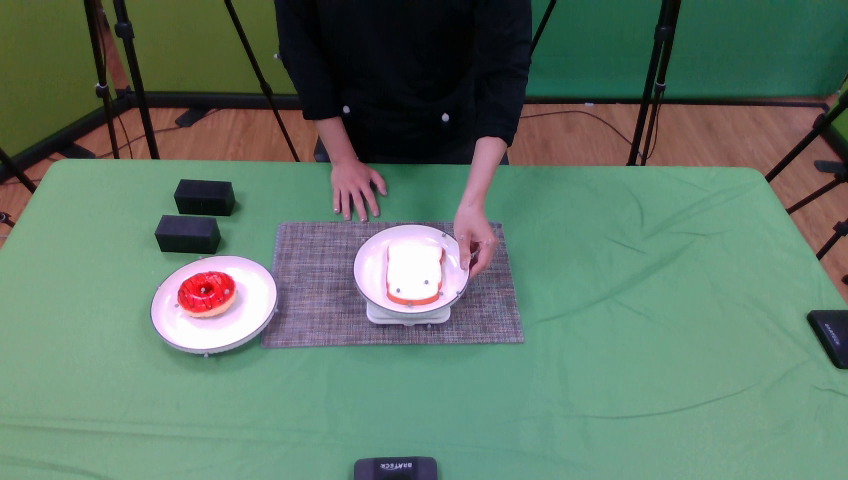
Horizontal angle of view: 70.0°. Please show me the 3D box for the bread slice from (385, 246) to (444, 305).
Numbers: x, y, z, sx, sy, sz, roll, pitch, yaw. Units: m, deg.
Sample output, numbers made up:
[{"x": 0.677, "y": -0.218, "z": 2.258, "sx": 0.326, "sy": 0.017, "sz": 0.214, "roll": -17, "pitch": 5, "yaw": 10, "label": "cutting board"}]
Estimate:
[{"x": -0.017, "y": 0.060, "z": 1.071, "sx": 0.105, "sy": 0.019, "sz": 0.130, "roll": 1, "pitch": 46, "yaw": 0, "label": "bread slice"}]

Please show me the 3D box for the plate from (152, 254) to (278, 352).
[{"x": -0.357, "y": 0.111, "z": 1.052, "sx": 0.208, "sy": 0.039, "sz": 0.206, "roll": 2, "pitch": 46, "yaw": -2, "label": "plate"}]

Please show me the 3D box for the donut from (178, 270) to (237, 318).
[{"x": -0.375, "y": 0.092, "z": 1.053, "sx": 0.099, "sy": 0.048, "sz": 0.098, "roll": 1, "pitch": 42, "yaw": 0, "label": "donut"}]

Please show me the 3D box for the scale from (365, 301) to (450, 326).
[{"x": -0.032, "y": 0.071, "z": 1.113, "sx": 0.149, "sy": 0.032, "sz": 0.199, "roll": 0, "pitch": 46, "yaw": -4, "label": "scale"}]

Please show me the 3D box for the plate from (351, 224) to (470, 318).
[{"x": -0.023, "y": 0.057, "z": 1.070, "sx": 0.209, "sy": 0.038, "sz": 0.208, "roll": 1, "pitch": 47, "yaw": -1, "label": "plate"}]
